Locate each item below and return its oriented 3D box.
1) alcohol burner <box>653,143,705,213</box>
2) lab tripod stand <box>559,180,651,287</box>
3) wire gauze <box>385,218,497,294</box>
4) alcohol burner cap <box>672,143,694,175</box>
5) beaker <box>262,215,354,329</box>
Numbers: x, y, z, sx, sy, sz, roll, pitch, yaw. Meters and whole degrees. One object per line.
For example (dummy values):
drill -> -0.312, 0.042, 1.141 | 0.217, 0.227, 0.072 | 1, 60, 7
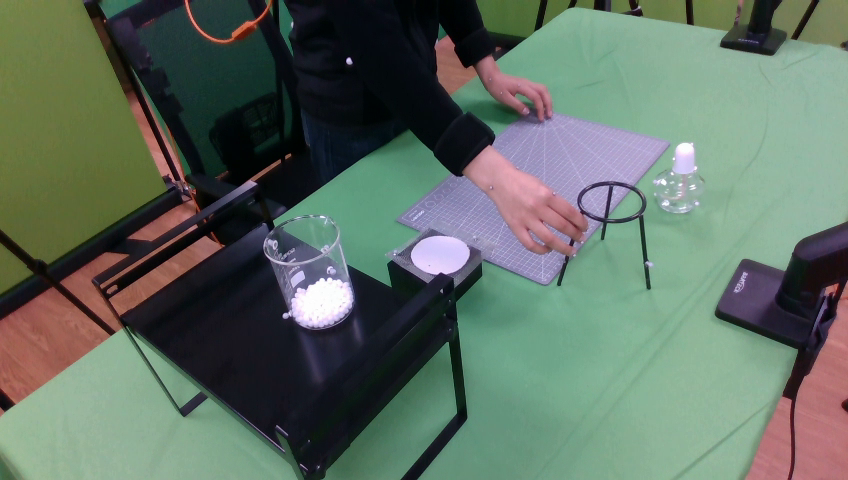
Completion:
alcohol burner -> 0.408, -0.102, 0.963 | 0.078, 0.120, 0.077 | -6, 42, 6
lab tripod stand -> 0.259, -0.005, 0.856 | 0.148, 0.132, 0.147 | -5, 43, 5
wire gauze -> 0.025, 0.017, 0.886 | 0.124, 0.011, 0.122 | 28, 49, 33
alcohol burner cap -> 0.404, -0.129, 0.941 | 0.034, 0.048, 0.033 | -9, 40, 8
beaker -> -0.112, 0.034, 0.616 | 0.073, 0.101, 0.084 | 13, 44, 23
